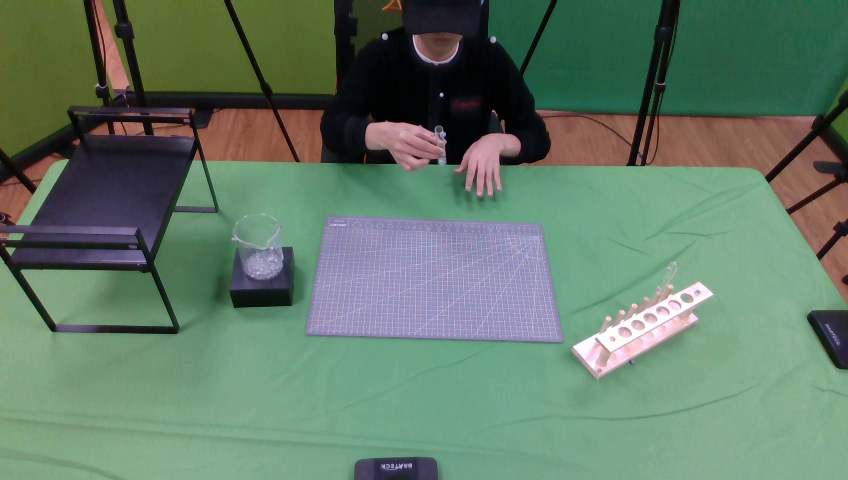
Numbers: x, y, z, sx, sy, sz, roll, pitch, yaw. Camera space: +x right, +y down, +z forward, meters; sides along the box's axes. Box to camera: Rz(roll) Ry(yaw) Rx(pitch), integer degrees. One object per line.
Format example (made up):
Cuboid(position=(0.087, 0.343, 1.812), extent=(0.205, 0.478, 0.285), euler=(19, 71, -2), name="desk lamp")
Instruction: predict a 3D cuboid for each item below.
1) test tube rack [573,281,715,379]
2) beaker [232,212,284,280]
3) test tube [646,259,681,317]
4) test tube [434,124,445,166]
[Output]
Cuboid(position=(0.378, 0.140, 1.038), extent=(0.242, 0.085, 0.066), euler=(-22, 51, -22), name="test tube rack")
Cuboid(position=(-0.280, 0.016, 1.037), extent=(0.074, 0.101, 0.083), euler=(-18, 50, -20), name="beaker")
Cuboid(position=(0.406, 0.083, 1.033), extent=(0.017, 0.151, 0.017), euler=(2, 48, -2), name="test tube")
Cuboid(position=(0.029, -0.171, 1.113), extent=(0.017, 0.151, 0.017), euler=(-1, 72, 3), name="test tube")
